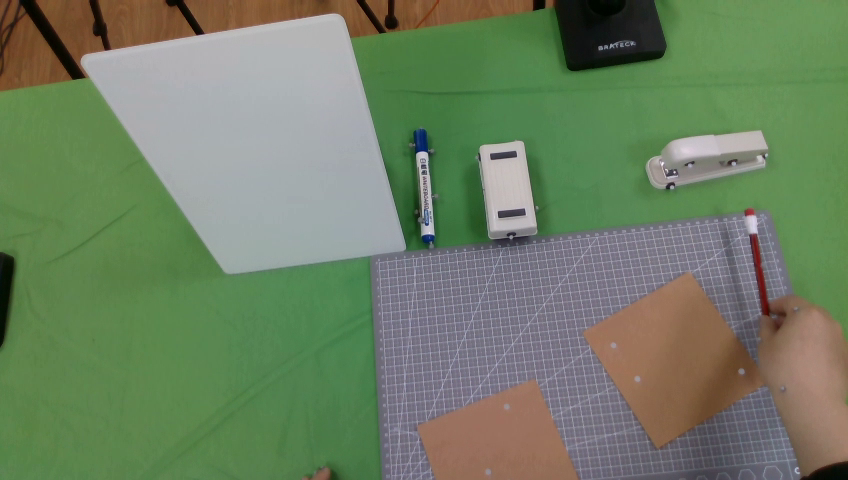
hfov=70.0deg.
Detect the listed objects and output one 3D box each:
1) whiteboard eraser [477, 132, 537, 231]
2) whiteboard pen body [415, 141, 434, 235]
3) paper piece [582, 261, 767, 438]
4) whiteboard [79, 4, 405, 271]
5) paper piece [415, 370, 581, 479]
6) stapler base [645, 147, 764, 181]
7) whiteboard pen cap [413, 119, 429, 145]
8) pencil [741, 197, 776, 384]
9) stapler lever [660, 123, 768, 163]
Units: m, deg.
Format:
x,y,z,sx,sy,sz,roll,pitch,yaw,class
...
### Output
x,y,z,sx,sy,sz,roll,pitch,yaw,class
0.094,-0.066,0.692,0.055,0.042,0.112,-7,72,5,whiteboard eraser
-0.001,-0.073,0.717,0.017,0.017,0.140,-6,71,4,whiteboard pen body
0.258,0.112,0.631,0.136,0.009,0.137,-29,73,0,paper piece
-0.150,-0.124,0.630,0.217,0.308,0.142,-7,52,4,whiteboard
0.076,0.219,0.615,0.135,0.004,0.134,-21,71,-1,paper piece
0.321,-0.100,0.689,0.130,0.024,0.041,-12,74,0,stapler base
-0.004,-0.128,0.734,0.018,0.018,0.033,-8,69,4,whiteboard pen cap
0.342,0.048,0.615,0.012,0.012,0.193,-2,75,6,pencil
0.320,-0.109,0.666,0.118,0.040,0.026,-12,73,1,stapler lever
